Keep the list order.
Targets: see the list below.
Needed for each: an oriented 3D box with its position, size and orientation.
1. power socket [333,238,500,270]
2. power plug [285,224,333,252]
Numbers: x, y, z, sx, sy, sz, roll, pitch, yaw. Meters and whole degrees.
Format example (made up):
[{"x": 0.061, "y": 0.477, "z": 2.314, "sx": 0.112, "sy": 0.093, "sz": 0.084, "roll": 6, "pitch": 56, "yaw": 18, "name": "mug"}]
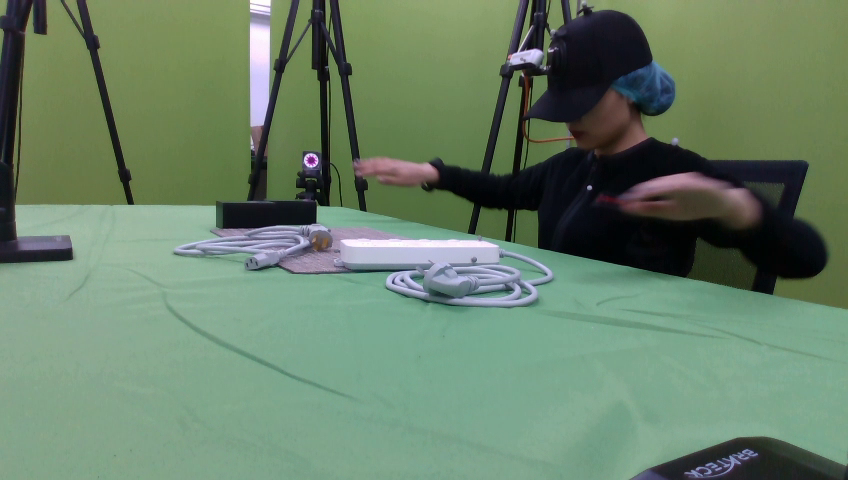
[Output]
[{"x": -0.005, "y": 0.018, "z": 0.798, "sx": 0.227, "sy": 0.032, "sz": 0.072, "roll": 1, "pitch": 8, "yaw": -17, "name": "power socket"}, {"x": -0.171, "y": 0.000, "z": 0.898, "sx": 0.072, "sy": 0.035, "sz": 0.052, "roll": -10, "pitch": 31, "yaw": 7, "name": "power plug"}]
